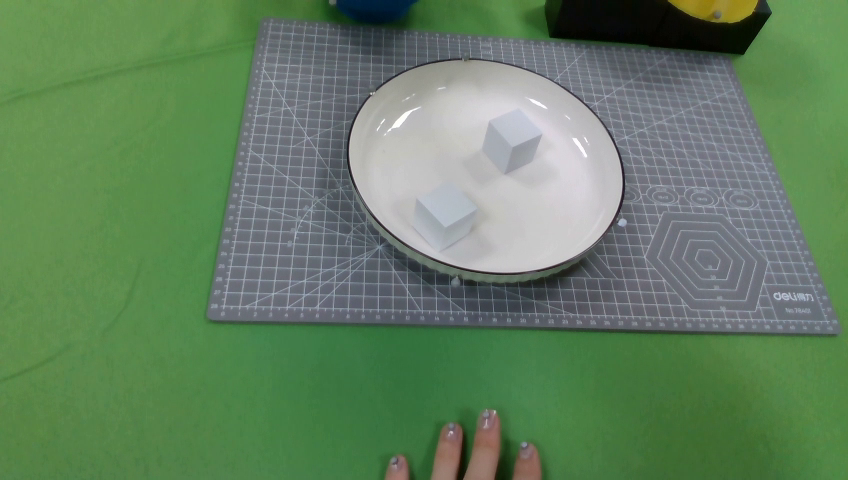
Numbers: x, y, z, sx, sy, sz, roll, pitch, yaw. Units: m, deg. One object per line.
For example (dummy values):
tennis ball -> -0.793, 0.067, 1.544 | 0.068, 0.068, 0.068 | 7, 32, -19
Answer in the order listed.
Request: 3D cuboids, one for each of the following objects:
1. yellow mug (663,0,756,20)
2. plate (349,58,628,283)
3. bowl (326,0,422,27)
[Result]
yellow mug -> 0.250, -0.252, 0.542 | 0.131, 0.064, 0.099 | -12, 60, -13
plate -> 0.048, -0.054, 0.463 | 0.208, 0.039, 0.205 | 3, 58, -5
bowl -> -0.048, -0.252, 0.555 | 0.151, 0.077, 0.150 | 3, 57, -4
